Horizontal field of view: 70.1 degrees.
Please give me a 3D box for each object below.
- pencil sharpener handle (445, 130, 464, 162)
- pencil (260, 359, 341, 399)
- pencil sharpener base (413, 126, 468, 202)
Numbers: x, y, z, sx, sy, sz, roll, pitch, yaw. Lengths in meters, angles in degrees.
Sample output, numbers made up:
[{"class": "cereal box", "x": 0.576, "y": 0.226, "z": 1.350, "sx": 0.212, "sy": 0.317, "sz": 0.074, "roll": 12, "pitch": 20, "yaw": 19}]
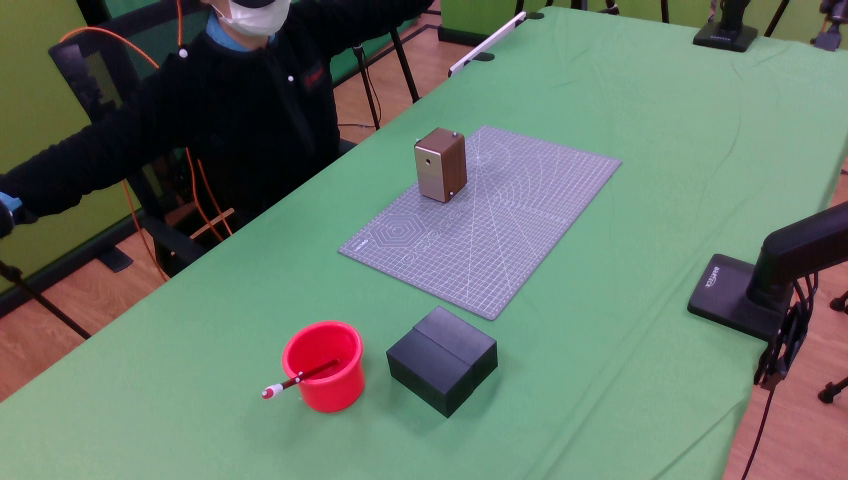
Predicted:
[{"class": "pencil sharpener handle", "x": 0.059, "y": -0.171, "z": 1.070, "sx": 0.036, "sy": 0.068, "sz": 0.031, "roll": 26, "pitch": 50, "yaw": 25}, {"class": "pencil", "x": -0.137, "y": 0.157, "z": 0.706, "sx": 0.012, "sy": 0.012, "sz": 0.195, "roll": 6, "pitch": 1, "yaw": 16}, {"class": "pencil sharpener base", "x": 0.032, "y": -0.132, "z": 1.047, "sx": 0.061, "sy": 0.107, "sz": 0.077, "roll": 22, "pitch": 48, "yaw": 30}]
